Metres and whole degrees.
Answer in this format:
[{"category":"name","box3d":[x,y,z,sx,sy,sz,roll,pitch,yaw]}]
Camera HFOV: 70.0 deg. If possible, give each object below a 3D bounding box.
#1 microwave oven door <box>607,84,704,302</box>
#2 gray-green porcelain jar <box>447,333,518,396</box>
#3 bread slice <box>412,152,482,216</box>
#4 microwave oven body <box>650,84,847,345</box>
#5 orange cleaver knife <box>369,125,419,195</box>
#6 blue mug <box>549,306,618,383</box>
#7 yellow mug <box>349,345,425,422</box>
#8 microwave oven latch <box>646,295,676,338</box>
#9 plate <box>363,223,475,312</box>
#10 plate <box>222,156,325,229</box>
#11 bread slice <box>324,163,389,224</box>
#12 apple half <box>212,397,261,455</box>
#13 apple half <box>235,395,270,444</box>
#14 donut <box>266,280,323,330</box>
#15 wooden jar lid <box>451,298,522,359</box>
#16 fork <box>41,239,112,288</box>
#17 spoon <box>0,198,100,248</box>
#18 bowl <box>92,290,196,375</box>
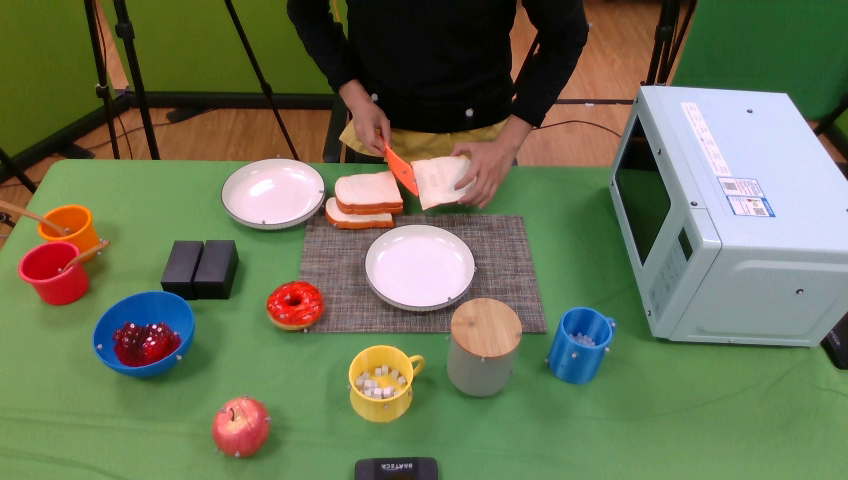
[{"category":"microwave oven door","box3d":[0.424,-0.096,1.138,0.039,0.245,0.353,3,46,-1]},{"category":"gray-green porcelain jar","box3d":[0.091,0.178,0.960,0.106,0.127,0.105,2,46,-2]},{"category":"bread slice","box3d":[0.052,-0.118,1.233,0.131,0.019,0.104,-22,86,-12]},{"category":"microwave oven body","box3d":[0.569,-0.054,1.116,0.326,0.261,0.439,2,46,-1]},{"category":"orange cleaver knife","box3d":[-0.064,-0.167,1.254,0.012,0.077,0.210,-24,47,-16]},{"category":"blue mug","box3d":[0.269,0.167,0.997,0.116,0.106,0.082,-19,50,-21]},{"category":"yellow mug","box3d":[-0.054,0.217,0.954,0.131,0.064,0.099,-24,52,-25]},{"category":"microwave oven latch","box3d":[0.412,0.133,1.060,0.030,0.029,0.078,3,46,0]},{"category":"plate","box3d":[-0.009,0.054,1.126,0.208,0.039,0.206,2,46,-2]},{"category":"plate","box3d":[-0.308,-0.095,1.251,0.209,0.038,0.208,2,47,-2]},{"category":"bread slice","box3d":[-0.140,-0.092,1.214,0.134,0.018,0.106,-24,50,12]},{"category":"apple half","box3d":[-0.276,0.276,0.877,0.053,0.075,0.080,-29,58,-21]},{"category":"apple half","box3d":[-0.245,0.259,0.893,0.033,0.082,0.081,-29,54,-22]},{"category":"donut","box3d":[-0.223,0.112,1.051,0.099,0.048,0.098,2,46,-2]},{"category":"wooden jar lid","box3d":[0.093,0.135,0.914,0.108,0.021,0.107,3,48,-3]},{"category":"fork","box3d":[-0.591,0.040,1.028,0.207,0.019,0.028,-27,37,29]},{"category":"spoon","box3d":[-0.684,-0.035,1.092,0.021,0.195,0.041,-34,41,26]},{"category":"bowl","box3d":[-0.436,0.161,0.971,0.151,0.077,0.150,2,46,-2]}]
